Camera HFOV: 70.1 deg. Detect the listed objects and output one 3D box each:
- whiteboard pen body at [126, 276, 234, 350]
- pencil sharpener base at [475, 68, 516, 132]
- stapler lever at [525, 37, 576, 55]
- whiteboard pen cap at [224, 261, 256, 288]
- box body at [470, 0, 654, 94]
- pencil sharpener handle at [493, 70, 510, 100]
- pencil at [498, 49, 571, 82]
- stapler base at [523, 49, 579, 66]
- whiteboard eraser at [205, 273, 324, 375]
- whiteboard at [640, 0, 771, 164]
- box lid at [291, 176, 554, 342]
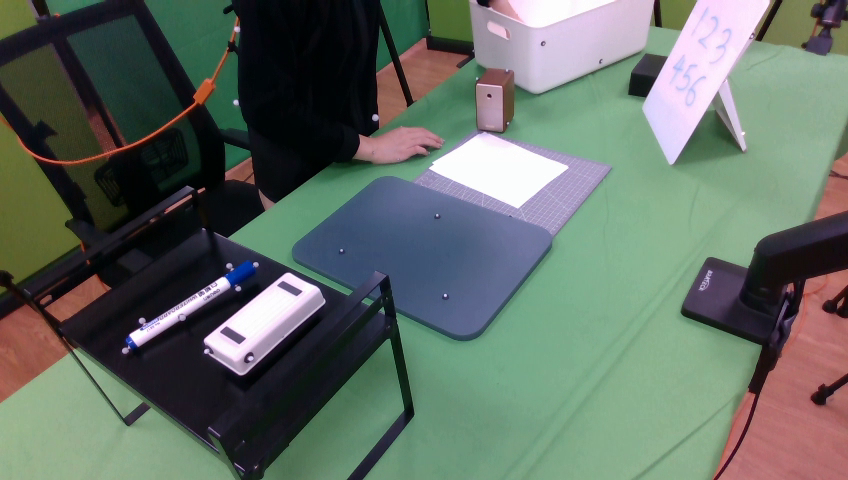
[{"bbox_3d":[-0.251,0.070,0.649,0.141,0.017,0.017,-36,48,-26],"label":"whiteboard pen body"},{"bbox_3d":[0.147,-0.284,1.222,0.061,0.107,0.077,11,43,22],"label":"pencil sharpener base"},{"bbox_3d":[0.296,-0.454,1.416,0.117,0.040,0.027,6,45,17],"label":"stapler lever"},{"bbox_3d":[-0.207,0.039,0.677,0.033,0.018,0.018,-36,47,-18],"label":"whiteboard pen cap"},{"bbox_3d":[0.319,-0.498,1.405,0.365,0.161,0.252,-26,43,-21],"label":"box body"},{"bbox_3d":[0.166,-0.325,1.248,0.036,0.068,0.030,10,43,22],"label":"pencil sharpener handle"},{"bbox_3d":[0.252,-0.405,1.393,0.193,0.012,0.012,31,52,22],"label":"pencil"},{"bbox_3d":[0.301,-0.436,1.435,0.130,0.024,0.041,6,45,16],"label":"stapler base"},{"bbox_3d":[-0.157,0.084,0.605,0.055,0.042,0.113,24,49,30],"label":"whiteboard eraser"},{"bbox_3d":[0.543,-0.299,1.076,0.144,0.305,0.216,12,40,-7],"label":"whiteboard"},{"bbox_3d":[-0.005,0.011,0.972,0.368,0.015,0.264,21,49,30],"label":"box lid"}]
